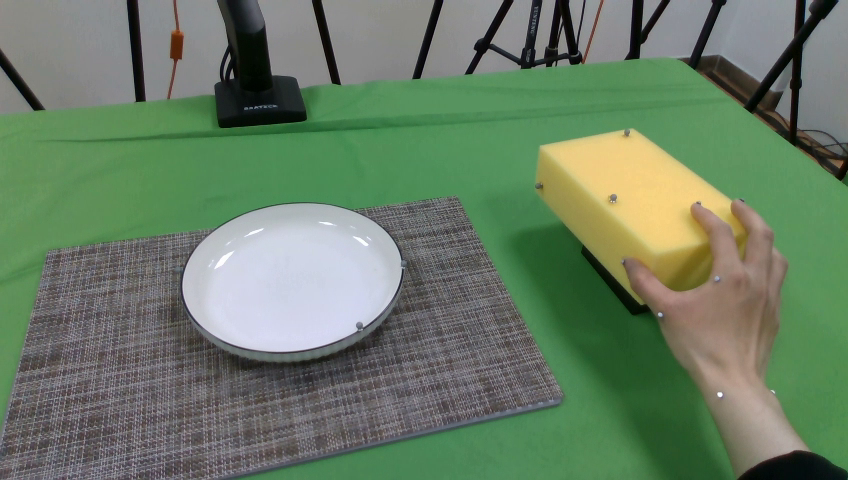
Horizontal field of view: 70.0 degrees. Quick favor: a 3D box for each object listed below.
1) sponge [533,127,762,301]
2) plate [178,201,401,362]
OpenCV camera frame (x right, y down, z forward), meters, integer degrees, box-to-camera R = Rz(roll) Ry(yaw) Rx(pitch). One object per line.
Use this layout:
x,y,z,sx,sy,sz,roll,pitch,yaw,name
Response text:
0.211,-0.036,0.612,0.118,0.061,0.204,-13,39,-15,sponge
-0.126,0.039,0.590,0.208,0.039,0.205,3,41,-2,plate
